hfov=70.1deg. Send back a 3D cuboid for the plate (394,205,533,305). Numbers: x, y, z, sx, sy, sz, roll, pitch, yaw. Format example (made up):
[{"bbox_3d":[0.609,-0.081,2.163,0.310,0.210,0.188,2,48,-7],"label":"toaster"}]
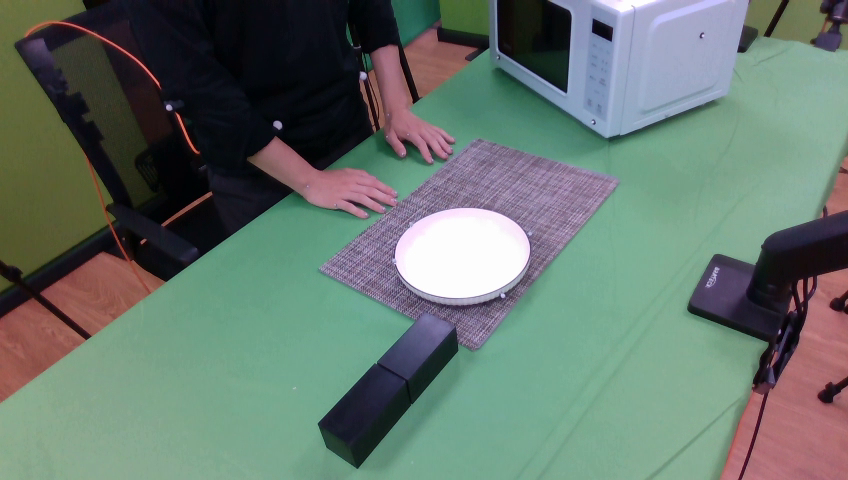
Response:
[{"bbox_3d":[0.059,0.025,0.915,0.207,0.039,0.206,-4,41,4],"label":"plate"}]

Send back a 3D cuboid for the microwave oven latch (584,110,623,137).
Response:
[{"bbox_3d":[0.337,-0.222,1.142,0.030,0.029,0.078,-21,42,-15],"label":"microwave oven latch"}]

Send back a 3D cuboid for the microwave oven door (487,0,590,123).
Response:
[{"bbox_3d":[0.232,-0.420,1.231,0.039,0.245,0.352,-22,43,-16],"label":"microwave oven door"}]

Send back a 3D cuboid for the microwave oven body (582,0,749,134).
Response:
[{"bbox_3d":[0.382,-0.444,1.246,0.327,0.261,0.437,-22,42,-16],"label":"microwave oven body"}]
